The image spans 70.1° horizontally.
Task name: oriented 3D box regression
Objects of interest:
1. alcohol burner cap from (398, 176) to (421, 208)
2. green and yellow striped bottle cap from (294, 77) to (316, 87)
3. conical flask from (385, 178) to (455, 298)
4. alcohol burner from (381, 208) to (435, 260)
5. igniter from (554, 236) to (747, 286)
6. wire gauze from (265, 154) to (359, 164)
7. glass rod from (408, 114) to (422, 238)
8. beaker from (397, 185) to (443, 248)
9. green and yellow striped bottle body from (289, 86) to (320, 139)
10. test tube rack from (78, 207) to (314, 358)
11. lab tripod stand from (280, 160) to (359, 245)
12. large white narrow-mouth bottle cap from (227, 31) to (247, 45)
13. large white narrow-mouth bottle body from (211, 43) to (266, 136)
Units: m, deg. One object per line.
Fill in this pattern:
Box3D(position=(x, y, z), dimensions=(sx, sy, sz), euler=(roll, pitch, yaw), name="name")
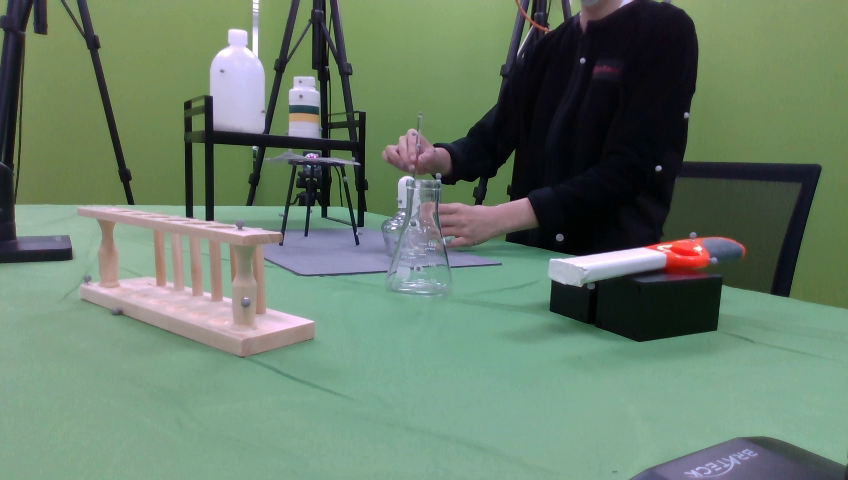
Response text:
Box3D(position=(-0.023, -0.068, 0.866), dimensions=(0.034, 0.048, 0.034), euler=(-5, 8, 1), name="alcohol burner cap")
Box3D(position=(-0.247, -0.326, 1.251), dimensions=(0.045, 0.020, 0.045), euler=(0, 10, 0), name="green and yellow striped bottle cap")
Box3D(position=(-0.002, -0.004, 0.639), dimensions=(0.075, 0.122, 0.075), euler=(2, 7, 0), name="conical flask")
Box3D(position=(-0.023, -0.032, 0.871), dimensions=(0.078, 0.119, 0.078), euler=(1, 6, 0), name="alcohol burner")
Box3D(position=(0.221, 0.017, 0.558), dimensions=(0.278, 0.025, 0.057), euler=(-5, 14, -39), name="igniter")
Box3D(position=(-0.181, -0.129, 0.969), dimensions=(0.126, 0.011, 0.121), euler=(-1, 7, -27), name="wire gauze")
Box3D(position=(-0.015, -0.102, 0.974), dimensions=(0.008, 0.199, 0.008), euler=(5, 5, 0), name="glass rod")
Box3D(position=(-0.005, -0.040, 0.995), dimensions=(0.074, 0.100, 0.083), euler=(-5, 11, -42), name="beaker")
Box3D(position=(-0.249, -0.272, 1.259), dimensions=(0.063, 0.119, 0.063), euler=(2, 8, 0), name="green and yellow striped bottle body")
Box3D(position=(-0.196, 0.023, 0.499), dimensions=(0.241, 0.085, 0.067), euler=(8, 8, 37), name="test tube rack")
Box3D(position=(-0.176, -0.062, 0.973), dimensions=(0.148, 0.131, 0.148), euler=(1, 7, 0), name="lab tripod stand")
Box3D(position=(-0.361, -0.388, 1.166), dimensions=(0.038, 0.024, 0.037), euler=(1, 7, 0), name="large white narrow-mouth bottle cap")
Box3D(position=(-0.361, -0.302, 1.176), dimensions=(0.102, 0.194, 0.102), euler=(1, 7, 0), name="large white narrow-mouth bottle body")
